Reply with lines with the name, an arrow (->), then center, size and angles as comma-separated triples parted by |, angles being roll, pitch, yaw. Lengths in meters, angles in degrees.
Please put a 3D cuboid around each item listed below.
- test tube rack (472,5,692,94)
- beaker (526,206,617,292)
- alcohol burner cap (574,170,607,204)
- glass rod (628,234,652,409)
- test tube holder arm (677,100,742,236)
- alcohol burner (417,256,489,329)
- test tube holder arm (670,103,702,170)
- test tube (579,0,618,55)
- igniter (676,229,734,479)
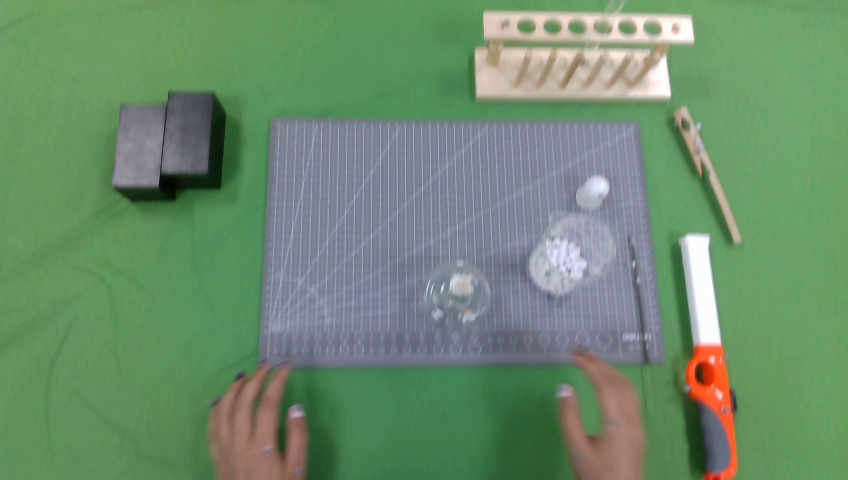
test tube rack -> 0.184, -0.225, 0.725 | 0.242, 0.085, 0.066 | 0, 76, -3
beaker -> 0.151, 0.012, 0.654 | 0.074, 0.100, 0.083 | -32, 79, -11
alcohol burner cap -> 0.196, -0.065, 0.705 | 0.034, 0.048, 0.033 | 1, 76, -2
glass rod -> 0.244, 0.089, 0.687 | 0.008, 0.008, 0.198 | -1, 76, -4
test tube holder arm -> 0.344, -0.088, 0.732 | 0.013, 0.015, 0.177 | -26, 77, 25
alcohol burner -> 0.032, 0.051, 0.631 | 0.078, 0.119, 0.077 | 1, 73, -2
test tube holder arm -> 0.325, -0.127, 0.744 | 0.010, 0.015, 0.087 | -25, 77, 26
test tube -> 0.202, -0.257, 0.683 | 0.017, 0.151, 0.017 | 2, 72, -5
igniter -> 0.312, 0.123, 0.676 | 0.057, 0.025, 0.275 | 3, 76, -13
